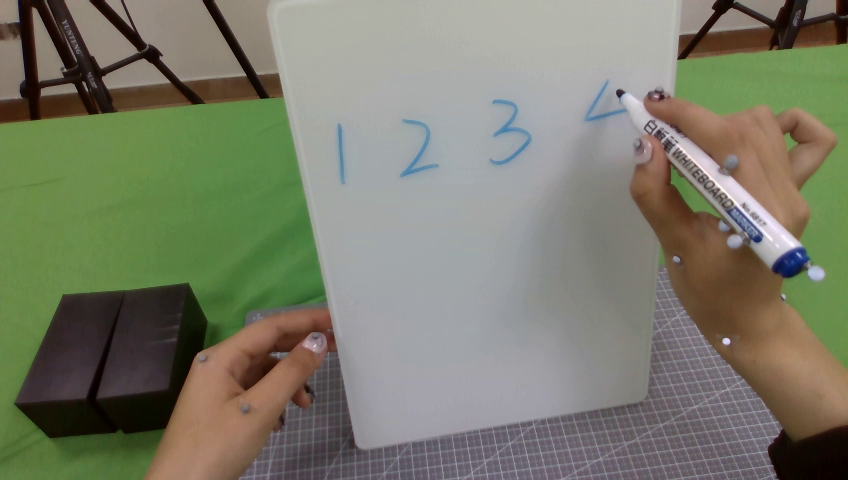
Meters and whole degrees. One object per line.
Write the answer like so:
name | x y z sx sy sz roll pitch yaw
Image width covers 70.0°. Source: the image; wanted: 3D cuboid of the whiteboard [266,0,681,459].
whiteboard | 0.036 -0.026 0.430 0.217 0.308 0.142 -8 26 -4

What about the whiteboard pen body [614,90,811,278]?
whiteboard pen body | 0.131 -0.035 0.295 0.017 0.017 0.139 -16 49 -12
